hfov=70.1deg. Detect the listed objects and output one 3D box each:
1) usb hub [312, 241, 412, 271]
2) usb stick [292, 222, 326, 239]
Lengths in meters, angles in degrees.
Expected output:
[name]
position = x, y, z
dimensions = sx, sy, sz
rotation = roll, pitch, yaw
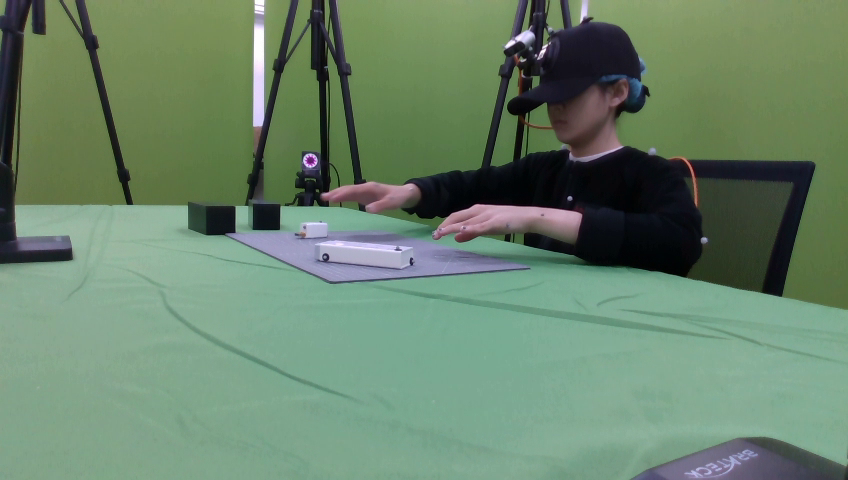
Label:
[usb hub]
position = -0.082, 0.020, 0.804
dimensions = 0.125, 0.025, 0.049
rotation = 5, 8, 17
[usb stick]
position = -0.198, -0.016, 1.036
dimensions = 0.021, 0.027, 0.059
rotation = 14, 15, 41
